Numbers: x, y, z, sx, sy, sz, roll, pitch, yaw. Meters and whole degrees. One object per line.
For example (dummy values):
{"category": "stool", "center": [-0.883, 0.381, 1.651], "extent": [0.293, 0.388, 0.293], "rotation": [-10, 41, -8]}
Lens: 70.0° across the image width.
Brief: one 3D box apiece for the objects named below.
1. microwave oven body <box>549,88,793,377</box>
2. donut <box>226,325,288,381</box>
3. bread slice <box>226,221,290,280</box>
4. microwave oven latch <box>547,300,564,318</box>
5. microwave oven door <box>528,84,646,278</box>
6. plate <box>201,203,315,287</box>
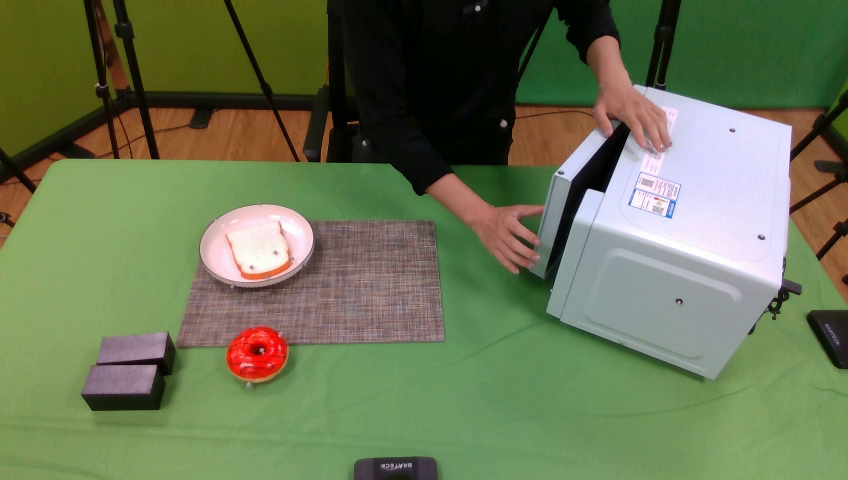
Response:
{"category": "microwave oven body", "center": [0.456, -0.028, 1.088], "extent": [0.325, 0.261, 0.440], "rotation": [20, 47, 16]}
{"category": "donut", "center": [-0.270, 0.182, 0.984], "extent": [0.099, 0.048, 0.098], "rotation": [5, 49, -5]}
{"category": "bread slice", "center": [-0.308, 0.019, 1.141], "extent": [0.105, 0.019, 0.130], "rotation": [-17, 49, -18]}
{"category": "microwave oven latch", "center": [0.242, 0.102, 1.081], "extent": [0.030, 0.029, 0.079], "rotation": [22, 48, 17]}
{"category": "microwave oven door", "center": [0.317, -0.119, 1.158], "extent": [0.039, 0.245, 0.355], "rotation": [29, 51, 21]}
{"category": "plate", "center": [-0.310, 0.013, 1.145], "extent": [0.208, 0.039, 0.206], "rotation": [2, 46, -2]}
